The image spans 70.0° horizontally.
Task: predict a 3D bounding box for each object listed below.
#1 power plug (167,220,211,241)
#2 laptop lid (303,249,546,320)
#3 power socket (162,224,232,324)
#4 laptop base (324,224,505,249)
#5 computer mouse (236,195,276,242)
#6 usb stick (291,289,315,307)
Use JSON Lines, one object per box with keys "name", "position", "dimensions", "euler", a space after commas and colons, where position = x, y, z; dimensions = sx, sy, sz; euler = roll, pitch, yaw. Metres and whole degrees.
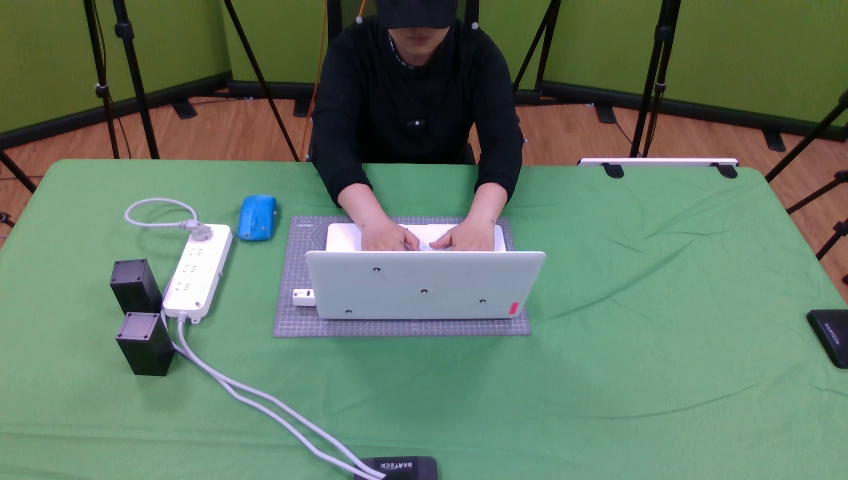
{"name": "power plug", "position": [-0.438, -0.017, 1.143], "dimensions": [0.072, 0.053, 0.035], "euler": [10, 42, 6]}
{"name": "laptop lid", "position": [-0.002, 0.077, 0.962], "dimensions": [0.357, 0.242, 0.013], "euler": [1, 58, -5]}
{"name": "power socket", "position": [-0.411, 0.052, 1.106], "dimensions": [0.072, 0.033, 0.225], "euler": [3, 45, -1]}
{"name": "laptop base", "position": [-0.014, 0.055, 1.144], "dimensions": [0.355, 0.023, 0.234], "euler": [0, 42, -4]}
{"name": "computer mouse", "position": [-0.333, -0.047, 1.207], "dimensions": [0.063, 0.041, 0.116], "euler": [3, 50, -4]}
{"name": "usb stick", "position": [-0.203, 0.102, 1.066], "dimensions": [0.059, 0.027, 0.021], "euler": [4, 45, -5]}
